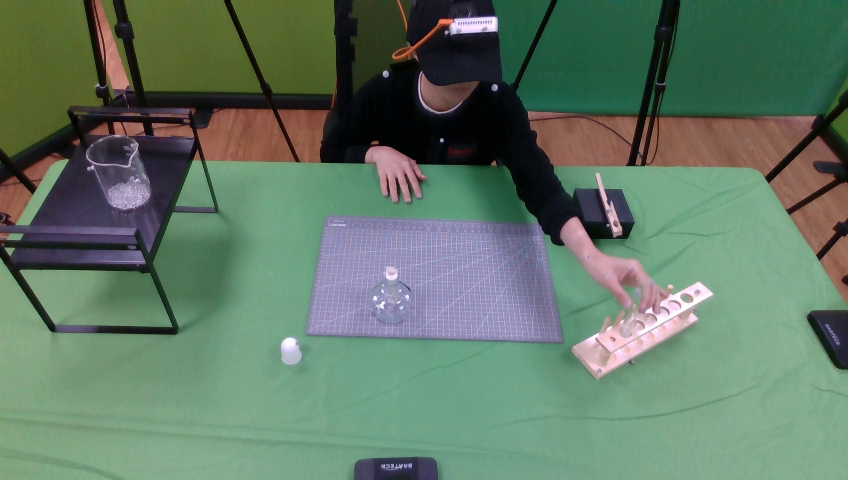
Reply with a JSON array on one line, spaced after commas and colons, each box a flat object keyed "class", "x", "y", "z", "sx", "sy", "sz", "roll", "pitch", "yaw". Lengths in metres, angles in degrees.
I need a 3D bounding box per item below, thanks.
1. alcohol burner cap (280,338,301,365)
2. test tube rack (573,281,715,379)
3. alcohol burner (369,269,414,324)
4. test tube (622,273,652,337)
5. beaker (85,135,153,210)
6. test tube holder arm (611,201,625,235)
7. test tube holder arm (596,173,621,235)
[{"class": "alcohol burner cap", "x": -0.220, "y": 0.179, "z": 0.993, "sx": 0.034, "sy": 0.048, "sz": 0.033, "roll": 3, "pitch": 46, "yaw": -2}, {"class": "test tube rack", "x": 0.378, "y": 0.140, "z": 1.038, "sx": 0.242, "sy": 0.085, "sz": 0.066, "roll": -22, "pitch": 51, "yaw": -23}, {"class": "alcohol burner", "x": -0.056, "y": 0.089, "z": 1.037, "sx": 0.078, "sy": 0.120, "sz": 0.077, "roll": 1, "pitch": 47, "yaw": -1}, {"class": "test tube", "x": 0.327, "y": 0.110, "z": 0.940, "sx": 0.017, "sy": 0.151, "sz": 0.017, "roll": 0, "pitch": 40, "yaw": 0}, {"class": "beaker", "x": -0.475, "y": -0.102, "z": 0.957, "sx": 0.083, "sy": 0.101, "sz": 0.074, "roll": 34, "pitch": 53, "yaw": 26}, {"class": "test tube holder arm", "x": 0.380, "y": -0.045, "z": 1.196, "sx": 0.010, "sy": 0.015, "sz": 0.087, "roll": -5, "pitch": 45, "yaw": 2}, {"class": "test tube holder arm", "x": 0.373, "y": -0.076, "z": 1.229, "sx": 0.013, "sy": 0.015, "sz": 0.177, "roll": -6, "pitch": 45, "yaw": 2}]
